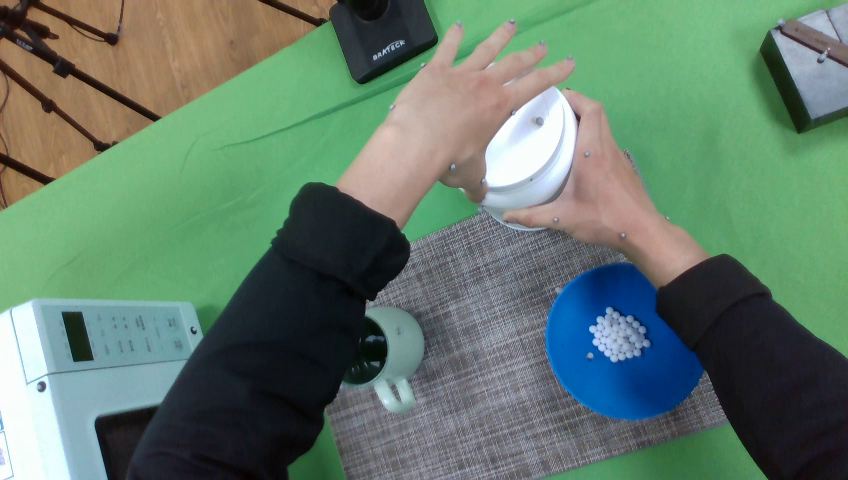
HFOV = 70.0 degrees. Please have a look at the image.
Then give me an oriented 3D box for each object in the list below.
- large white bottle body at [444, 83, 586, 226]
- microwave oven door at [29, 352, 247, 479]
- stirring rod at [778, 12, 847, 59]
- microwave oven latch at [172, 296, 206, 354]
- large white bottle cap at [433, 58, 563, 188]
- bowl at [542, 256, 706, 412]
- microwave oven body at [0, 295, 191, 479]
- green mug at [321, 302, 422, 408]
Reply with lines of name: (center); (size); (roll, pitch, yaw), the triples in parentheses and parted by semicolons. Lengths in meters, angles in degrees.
large white bottle body: (0.093, -0.091, 0.616); (0.130, 0.186, 0.130); (-3, 81, 18)
microwave oven door: (-0.272, 0.303, 0.657); (0.039, 0.245, 0.354); (-25, 78, 15)
stirring rod: (0.410, -0.165, 0.557); (0.175, 0.006, 0.014); (37, 131, 17)
microwave oven latch: (-0.315, 0.112, 0.795); (0.030, 0.029, 0.079); (-24, 79, 14)
large white bottle cap: (0.064, -0.103, 0.535); (0.114, 0.018, 0.114); (-3, 82, 19)
bowl: (0.202, 0.094, 0.619); (0.151, 0.077, 0.151); (-2, 85, 19)
microwave oven body: (-0.414, 0.324, 0.707); (0.326, 0.261, 0.439); (-24, 79, 14)
green mug: (-0.050, 0.131, 0.685); (0.092, 0.105, 0.124); (-32, 76, 12)
